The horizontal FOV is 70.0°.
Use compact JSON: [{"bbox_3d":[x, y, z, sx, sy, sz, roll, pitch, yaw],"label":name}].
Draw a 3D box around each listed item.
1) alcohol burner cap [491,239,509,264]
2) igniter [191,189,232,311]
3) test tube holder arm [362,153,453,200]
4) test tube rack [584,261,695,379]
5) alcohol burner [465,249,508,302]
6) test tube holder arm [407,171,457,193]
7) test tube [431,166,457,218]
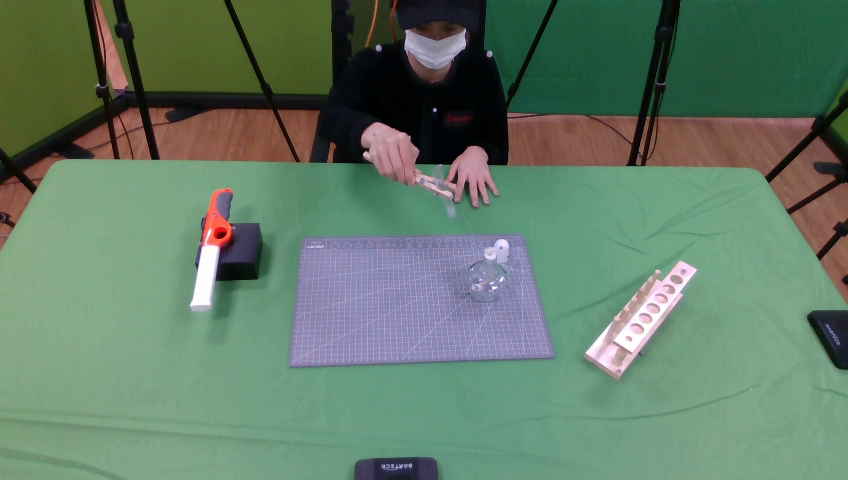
[{"bbox_3d":[0.150,0.020,1.174,0.034,0.048,0.033,2,46,-2],"label":"alcohol burner cap"},{"bbox_3d":[-0.381,0.008,1.092,0.057,0.025,0.274,-1,50,-7],"label":"igniter"},{"bbox_3d":[-0.030,-0.107,1.008,0.178,0.015,0.013,25,70,21],"label":"test tube holder arm"},{"bbox_3d":[0.380,0.127,1.062,0.066,0.085,0.242,34,53,26],"label":"test tube rack"},{"bbox_3d":[0.114,0.057,1.085,0.078,0.120,0.077,2,48,-2],"label":"alcohol burner"},{"bbox_3d":[0.012,-0.096,0.995,0.087,0.015,0.010,17,68,18],"label":"test tube holder arm"},{"bbox_3d":[0.034,-0.076,1.004,0.017,0.151,0.017,-6,63,12],"label":"test tube"}]
